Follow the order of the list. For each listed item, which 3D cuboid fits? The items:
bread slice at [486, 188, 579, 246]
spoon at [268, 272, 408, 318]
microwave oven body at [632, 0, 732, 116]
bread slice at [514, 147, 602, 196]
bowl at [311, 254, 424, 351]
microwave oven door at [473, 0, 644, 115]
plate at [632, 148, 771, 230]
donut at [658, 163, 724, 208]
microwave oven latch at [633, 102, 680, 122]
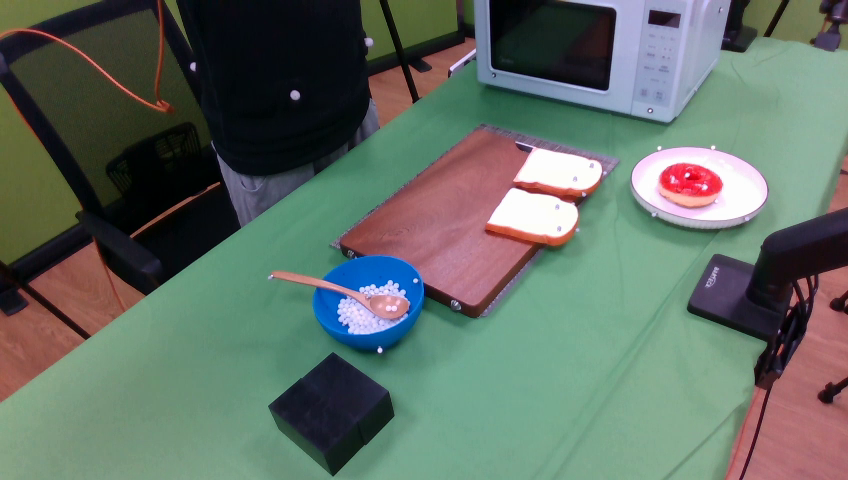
[{"bbox_3d":[0.176,-0.037,0.946,0.131,0.019,0.105,15,47,24],"label":"bread slice"},{"bbox_3d":[-0.116,0.069,0.813,0.194,0.021,0.041,18,39,1],"label":"spoon"},{"bbox_3d":[0.377,-0.462,1.267,0.438,0.261,0.327,21,49,30],"label":"microwave oven body"},{"bbox_3d":[0.232,-0.115,1.027,0.133,0.018,0.107,13,45,20],"label":"bread slice"},{"bbox_3d":[-0.071,0.098,0.821,0.151,0.077,0.150,-4,40,4],"label":"bowl"},{"bbox_3d":[0.257,-0.396,1.199,0.353,0.245,0.039,21,48,29],"label":"microwave oven door"},{"bbox_3d":[0.447,-0.081,0.988,0.207,0.039,0.206,-4,40,4],"label":"plate"},{"bbox_3d":[0.432,-0.089,0.982,0.099,0.048,0.098,-2,38,2],"label":"donut"},{"bbox_3d":[0.444,-0.249,1.158,0.078,0.029,0.030,22,49,30],"label":"microwave oven latch"}]
